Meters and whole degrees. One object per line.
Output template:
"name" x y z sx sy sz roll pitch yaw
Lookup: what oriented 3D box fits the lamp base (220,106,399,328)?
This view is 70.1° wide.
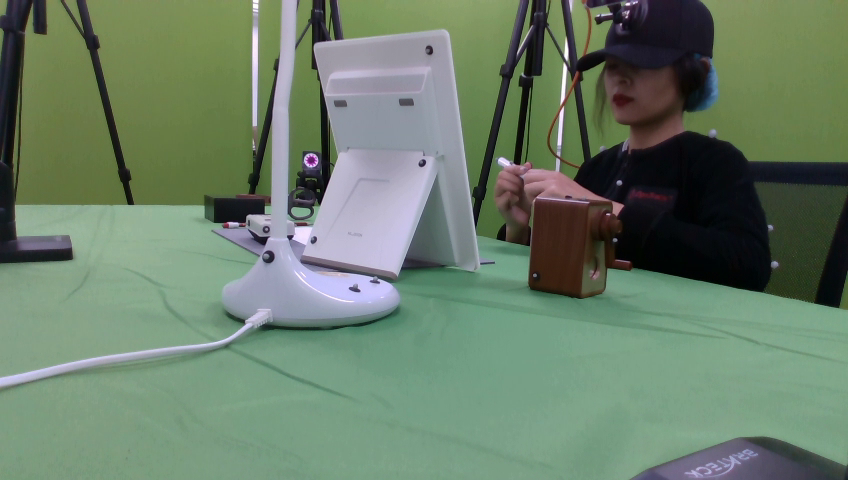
"lamp base" -0.101 -0.023 0.531 0.160 0.180 0.179 4 10 10

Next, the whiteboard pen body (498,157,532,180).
"whiteboard pen body" 0.167 -0.122 1.062 0.017 0.017 0.140 -1 23 -22

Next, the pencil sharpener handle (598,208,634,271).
"pencil sharpener handle" 0.208 0.000 0.645 0.030 0.068 0.036 10 22 42

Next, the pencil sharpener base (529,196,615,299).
"pencil sharpener base" 0.168 0.007 0.678 0.076 0.107 0.062 10 10 42

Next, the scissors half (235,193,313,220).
"scissors half" -0.325 -0.077 1.320 0.176 0.040 0.012 17 8 -32

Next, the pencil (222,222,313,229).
"pencil" -0.302 -0.031 1.189 0.195 0.012 0.012 -3 9 -42

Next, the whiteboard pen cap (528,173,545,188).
"whiteboard pen cap" 0.188 -0.101 1.011 0.018 0.018 0.033 -1 22 -22

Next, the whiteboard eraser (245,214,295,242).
"whiteboard eraser" -0.247 -0.018 0.965 0.056 0.042 0.112 0 8 -28

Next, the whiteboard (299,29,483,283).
"whiteboard" -0.074 -0.082 0.742 0.216 0.305 0.144 9 29 37

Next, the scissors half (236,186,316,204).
"scissors half" -0.320 -0.097 1.316 0.176 0.040 0.013 -3 13 -29
